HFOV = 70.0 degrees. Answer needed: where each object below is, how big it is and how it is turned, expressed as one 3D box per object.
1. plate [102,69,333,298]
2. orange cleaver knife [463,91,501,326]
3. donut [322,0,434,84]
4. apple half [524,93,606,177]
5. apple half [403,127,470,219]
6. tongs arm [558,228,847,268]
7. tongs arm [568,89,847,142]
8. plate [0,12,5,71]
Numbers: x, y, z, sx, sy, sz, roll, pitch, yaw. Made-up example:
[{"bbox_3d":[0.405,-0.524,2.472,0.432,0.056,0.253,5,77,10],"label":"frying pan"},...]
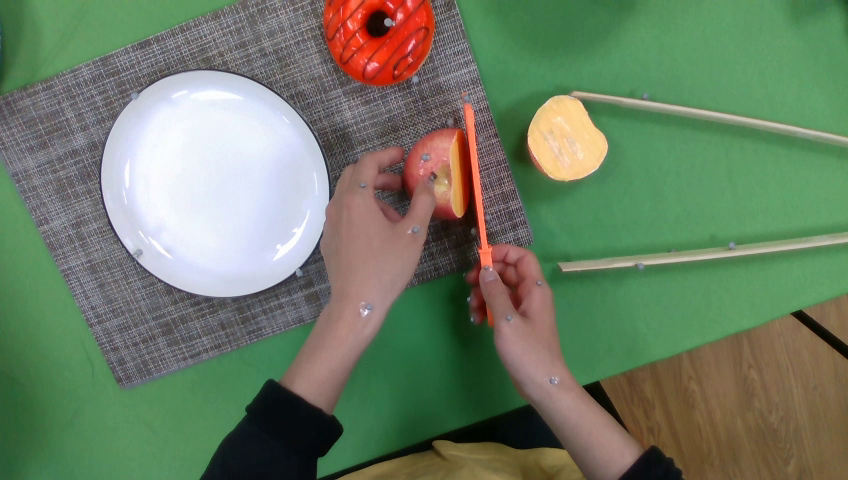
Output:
[{"bbox_3d":[-0.187,-0.051,0.563,0.209,0.038,0.210,0,103,0],"label":"plate"},{"bbox_3d":[0.052,-0.028,0.550,0.012,0.077,0.212,-7,105,5],"label":"orange cleaver knife"},{"bbox_3d":[-0.040,-0.187,0.530,0.099,0.048,0.099,0,104,2],"label":"donut"},{"bbox_3d":[0.123,-0.092,0.560,0.081,0.033,0.081,2,82,-13],"label":"apple half"},{"bbox_3d":[0.010,-0.061,0.544,0.053,0.074,0.081,2,109,18],"label":"apple half"},{"bbox_3d":[0.321,-0.014,0.580,0.385,0.026,0.051,-5,99,0],"label":"tongs arm"},{"bbox_3d":[0.322,-0.099,0.564,0.388,0.027,0.028,10,95,-3],"label":"tongs arm"},{"bbox_3d":[-0.472,-0.189,0.534,0.208,0.039,0.208,0,103,0],"label":"plate"}]
